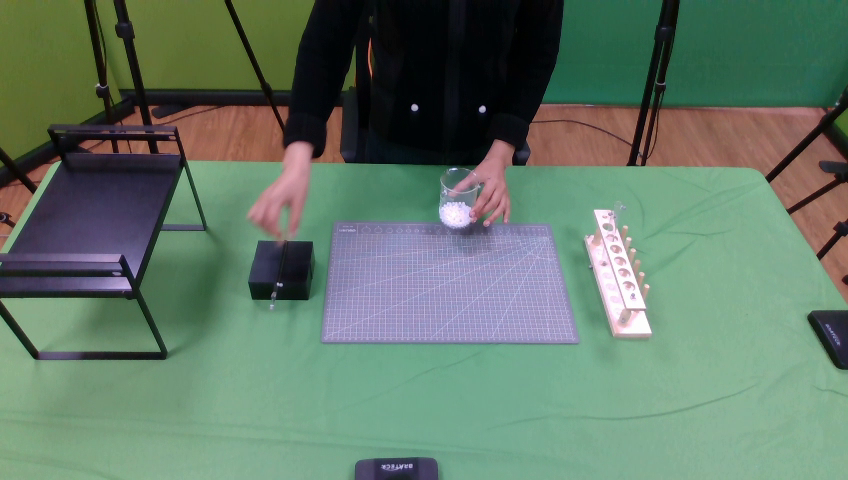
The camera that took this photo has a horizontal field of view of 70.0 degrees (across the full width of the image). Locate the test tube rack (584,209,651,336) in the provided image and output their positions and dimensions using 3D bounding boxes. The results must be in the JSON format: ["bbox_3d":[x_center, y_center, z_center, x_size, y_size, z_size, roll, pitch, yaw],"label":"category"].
[{"bbox_3d":[0.365,0.055,1.129,0.067,0.085,0.240,0,46,-3],"label":"test tube rack"}]

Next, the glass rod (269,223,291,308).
[{"bbox_3d":[-0.256,0.041,1.081,0.008,0.008,0.198,2,46,-2],"label":"glass rod"}]

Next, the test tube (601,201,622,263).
[{"bbox_3d":[0.346,-0.012,1.123,0.017,0.151,0.017,-2,45,2],"label":"test tube"}]

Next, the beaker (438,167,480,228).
[{"bbox_3d":[0.063,-0.081,1.167,0.074,0.101,0.083,-21,50,-23],"label":"beaker"}]
